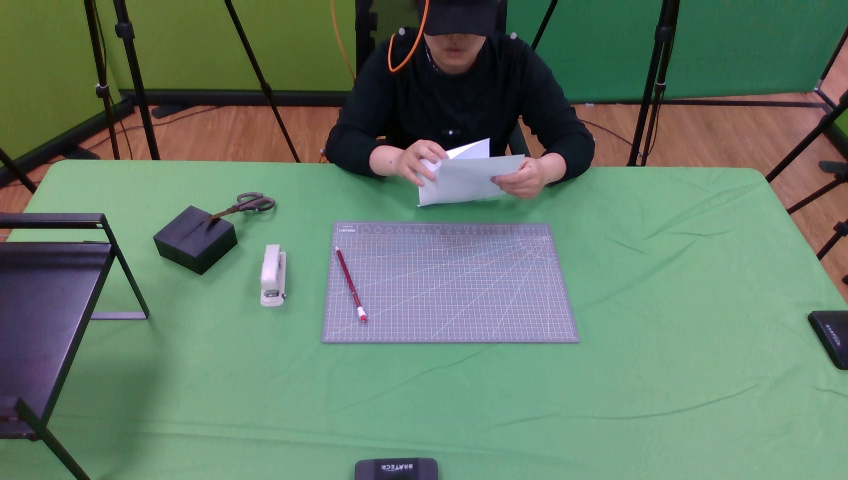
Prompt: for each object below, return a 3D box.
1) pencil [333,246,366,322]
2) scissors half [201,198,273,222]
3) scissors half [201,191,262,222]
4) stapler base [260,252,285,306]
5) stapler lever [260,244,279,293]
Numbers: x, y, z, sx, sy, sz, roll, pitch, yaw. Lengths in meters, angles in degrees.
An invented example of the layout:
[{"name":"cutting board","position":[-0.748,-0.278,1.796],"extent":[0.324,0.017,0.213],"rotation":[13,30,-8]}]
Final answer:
[{"name":"pencil","position":[-0.140,0.077,1.116],"extent":[0.012,0.012,0.192],"rotation":[-14,48,-17]},{"name":"scissors half","position":[-0.364,-0.056,1.192],"extent":[0.040,0.013,0.175],"rotation":[38,32,23]},{"name":"scissors half","position":[-0.381,-0.066,1.198],"extent":[0.040,0.013,0.175],"rotation":[24,28,10]},{"name":"stapler base","position":[-0.279,0.064,1.113],"extent":[0.041,0.024,0.129],"rotation":[-2,44,-9]},{"name":"stapler lever","position":[-0.279,0.045,1.096],"extent":[0.027,0.040,0.117],"rotation":[-2,44,-9]}]
